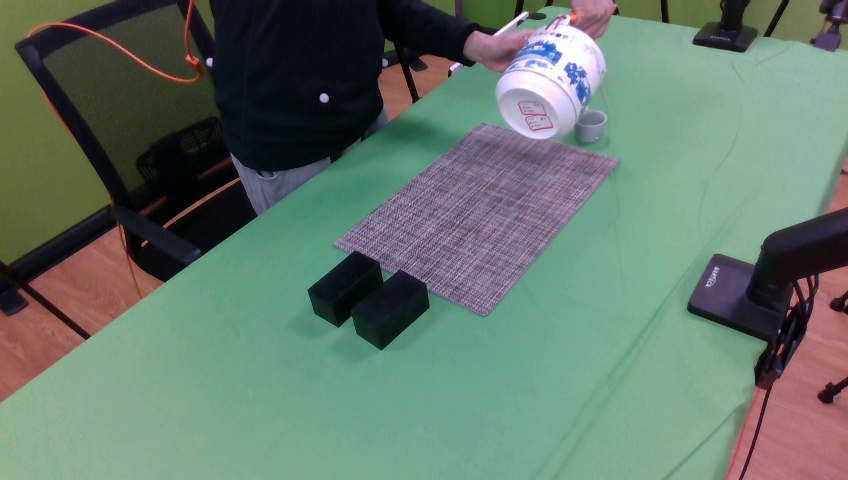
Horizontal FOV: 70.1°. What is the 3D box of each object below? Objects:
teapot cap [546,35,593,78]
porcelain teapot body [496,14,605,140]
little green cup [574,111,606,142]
[{"bbox_3d":[0.250,-0.316,1.035,0.084,0.085,0.044,20,59,29],"label":"teapot cap"},{"bbox_3d":[0.238,-0.268,1.042,0.144,0.207,0.225,16,60,35],"label":"porcelain teapot body"},{"bbox_3d":[0.318,-0.217,1.164,0.061,0.039,0.061,-3,41,3],"label":"little green cup"}]
